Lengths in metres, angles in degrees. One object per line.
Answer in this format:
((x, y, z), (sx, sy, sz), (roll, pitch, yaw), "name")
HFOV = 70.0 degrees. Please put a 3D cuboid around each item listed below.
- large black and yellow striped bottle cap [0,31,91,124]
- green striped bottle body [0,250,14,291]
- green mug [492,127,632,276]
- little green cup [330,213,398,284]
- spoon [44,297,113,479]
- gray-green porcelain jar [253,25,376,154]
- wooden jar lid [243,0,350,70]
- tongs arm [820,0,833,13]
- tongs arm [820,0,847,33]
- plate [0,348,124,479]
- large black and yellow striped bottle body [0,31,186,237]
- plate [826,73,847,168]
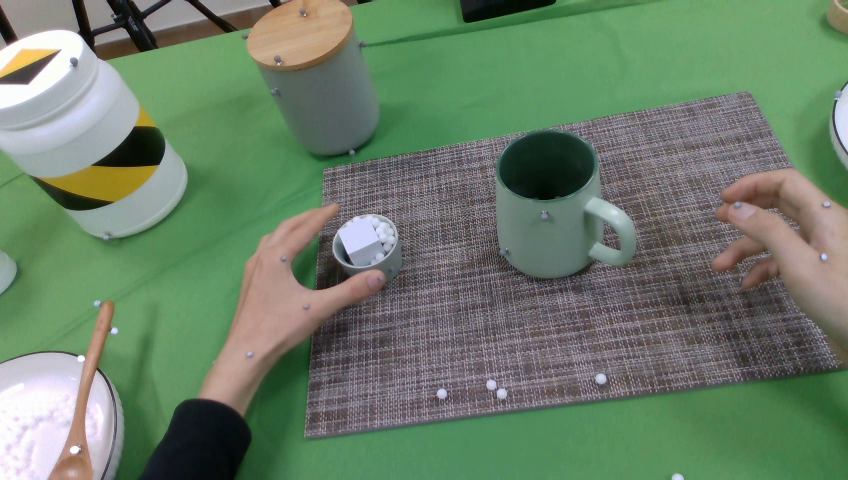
((-0.366, -0.152, 0.558), (0.115, 0.019, 0.114), (-6, 52, 9), "large black and yellow striped bottle cap")
((-0.487, 0.008, 0.615), (0.063, 0.120, 0.062), (-7, 53, 9), "green striped bottle body")
((0.114, -0.023, 0.502), (0.124, 0.106, 0.092), (31, 66, 31), "green mug")
((-0.053, 0.009, 0.559), (0.061, 0.039, 0.061), (-5, 52, 7), "little green cup")
((-0.285, 0.133, 0.507), (0.041, 0.022, 0.192), (-7, 61, 6), "spoon")
((-0.112, -0.165, 0.652), (0.106, 0.128, 0.105), (-6, 53, 9), "gray-green porcelain jar")
((-0.125, -0.202, 0.604), (0.108, 0.021, 0.107), (-6, 56, 9), "wooden jar lid")
((0.611, -0.236, 0.590), (0.382, 0.027, 0.050), (12, 63, 22), "tongs arm")
((0.577, -0.173, 0.558), (0.384, 0.028, 0.028), (25, 72, 28), "tongs arm")
((-0.342, 0.190, 0.499), (0.209, 0.038, 0.207), (-6, 53, 9), "plate")
((-0.350, -0.105, 0.625), (0.130, 0.186, 0.129), (-6, 53, 9), "large black and yellow striped bottle body")
((0.459, -0.090, 0.517), (0.207, 0.039, 0.205), (-6, 53, 9), "plate")
